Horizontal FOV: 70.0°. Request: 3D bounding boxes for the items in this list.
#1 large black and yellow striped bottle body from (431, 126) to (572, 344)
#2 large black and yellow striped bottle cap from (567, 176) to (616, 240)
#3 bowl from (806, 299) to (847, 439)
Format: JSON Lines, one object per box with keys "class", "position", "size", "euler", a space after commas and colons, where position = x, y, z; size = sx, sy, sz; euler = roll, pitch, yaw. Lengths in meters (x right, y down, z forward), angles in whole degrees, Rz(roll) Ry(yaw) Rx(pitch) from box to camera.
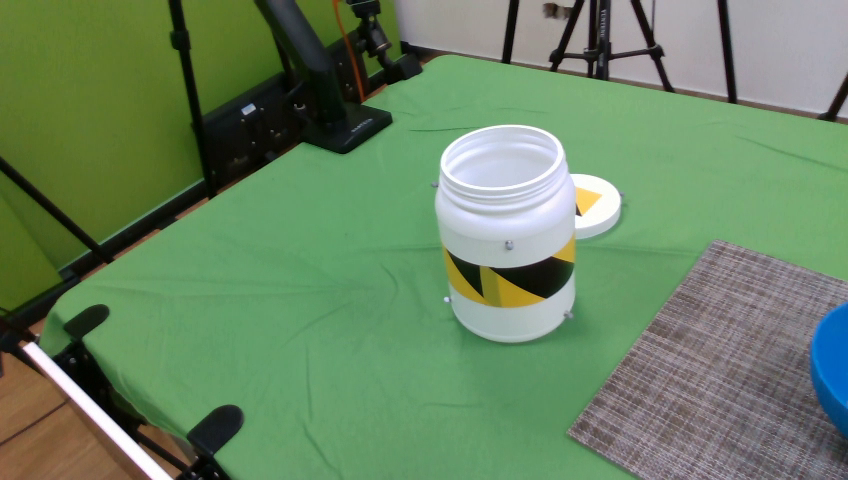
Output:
{"class": "large black and yellow striped bottle body", "position": [0.078, -0.004, 0.588], "size": [0.130, 0.186, 0.129], "euler": [-6, 39, 6]}
{"class": "large black and yellow striped bottle cap", "position": [0.177, -0.042, 0.746], "size": [0.115, 0.019, 0.114], "euler": [-6, 39, 5]}
{"class": "bowl", "position": [0.360, 0.119, 0.447], "size": [0.151, 0.077, 0.150], "euler": [-7, 39, 6]}
